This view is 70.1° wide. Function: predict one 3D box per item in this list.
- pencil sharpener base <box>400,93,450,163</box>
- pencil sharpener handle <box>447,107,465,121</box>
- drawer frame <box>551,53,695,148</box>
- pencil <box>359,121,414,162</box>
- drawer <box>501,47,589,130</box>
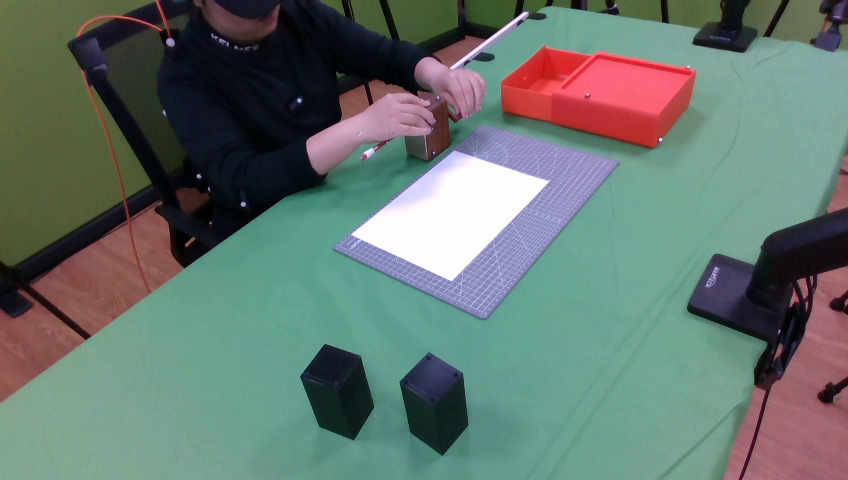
[{"bbox_3d":[0.005,-0.216,1.159,0.061,0.107,0.077,24,49,32],"label":"pencil sharpener base"},{"bbox_3d":[0.046,-0.255,1.166,0.067,0.036,0.031,40,56,12],"label":"pencil sharpener handle"},{"bbox_3d":[0.391,-0.281,1.196,0.212,0.083,0.202,22,48,29],"label":"drawer frame"},{"bbox_3d":[-0.051,-0.193,1.097,0.012,0.012,0.194,23,50,32],"label":"pencil"},{"bbox_3d":[0.296,-0.316,1.256,0.210,0.073,0.195,22,48,29],"label":"drawer"}]
